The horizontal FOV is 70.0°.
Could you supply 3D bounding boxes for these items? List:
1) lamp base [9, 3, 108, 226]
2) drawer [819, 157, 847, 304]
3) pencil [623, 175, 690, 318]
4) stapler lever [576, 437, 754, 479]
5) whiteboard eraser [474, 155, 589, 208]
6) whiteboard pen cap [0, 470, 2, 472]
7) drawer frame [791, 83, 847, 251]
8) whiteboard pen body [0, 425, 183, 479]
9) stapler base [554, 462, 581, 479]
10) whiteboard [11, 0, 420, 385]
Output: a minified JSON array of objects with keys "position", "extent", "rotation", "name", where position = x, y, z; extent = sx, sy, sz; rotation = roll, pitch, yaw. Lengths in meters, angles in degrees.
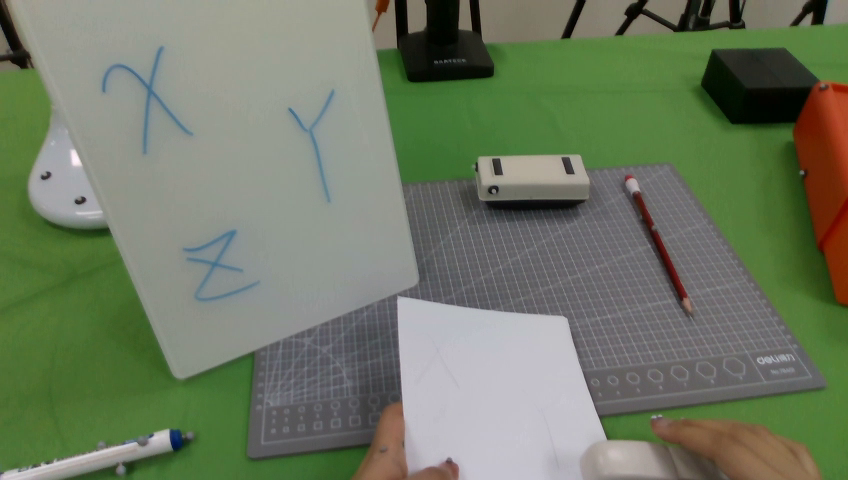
[{"position":[-0.340,-0.130,0.594],"extent":[0.178,0.182,0.160],"rotation":[23,48,25],"name":"lamp base"},{"position":[0.484,-0.017,0.568],"extent":[0.194,0.074,0.210],"rotation":[11,44,12],"name":"drawer"},{"position":[0.226,0.000,0.593],"extent":[0.012,0.012,0.192],"rotation":[-1,45,-2],"name":"pencil"},{"position":[0.158,0.147,0.394],"extent":[0.118,0.040,0.026],"rotation":[0,46,-4],"name":"stapler lever"},{"position":[0.110,-0.061,0.629],"extent":[0.113,0.042,0.055],"rotation":[-1,44,-2],"name":"whiteboard eraser"},{"position":[-0.299,0.164,0.402],"extent":[0.033,0.018,0.018],"rotation":[-13,45,-13],"name":"whiteboard pen cap"},{"position":[0.502,-0.063,0.615],"extent":[0.201,0.083,0.212],"rotation":[11,44,12],"name":"drawer frame"},{"position":[-0.241,0.153,0.418],"extent":[0.141,0.017,0.017],"rotation":[-12,45,-13],"name":"whiteboard pen body"},{"position":[0.156,0.165,0.411],"extent":[0.131,0.024,0.041],"rotation":[0,46,-4],"name":"stapler base"},{"position":[-0.151,-0.080,0.497],"extent":[0.217,0.308,0.142],"rotation":[-20,28,-20],"name":"whiteboard"}]
